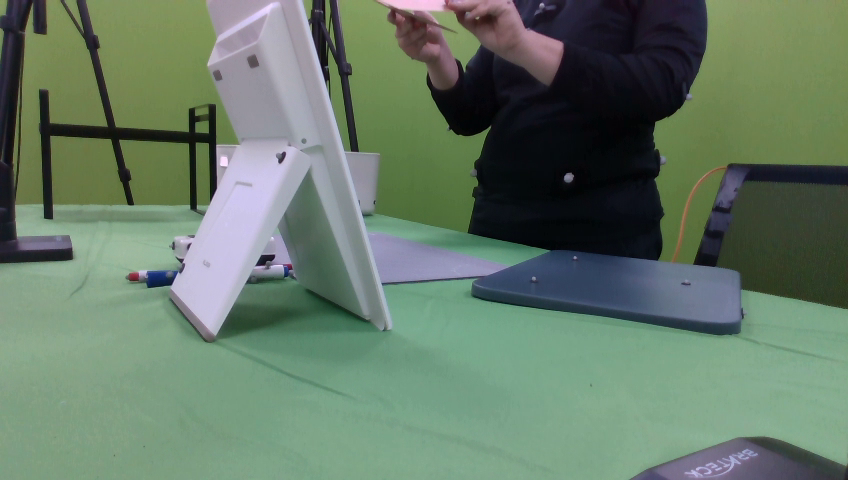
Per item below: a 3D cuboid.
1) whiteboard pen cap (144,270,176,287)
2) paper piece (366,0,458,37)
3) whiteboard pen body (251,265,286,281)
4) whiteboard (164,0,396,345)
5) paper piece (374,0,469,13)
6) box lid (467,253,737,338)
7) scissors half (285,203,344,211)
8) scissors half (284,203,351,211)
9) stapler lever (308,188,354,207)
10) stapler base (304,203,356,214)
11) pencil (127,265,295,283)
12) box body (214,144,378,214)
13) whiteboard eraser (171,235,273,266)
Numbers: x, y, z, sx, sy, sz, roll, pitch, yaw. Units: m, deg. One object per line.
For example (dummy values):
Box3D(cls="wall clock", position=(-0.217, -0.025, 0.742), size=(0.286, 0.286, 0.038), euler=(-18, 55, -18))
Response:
Box3D(cls="whiteboard pen cap", position=(-0.271, 0.039, 0.627), size=(0.033, 0.018, 0.018), euler=(-3, 10, -33))
Box3D(cls="paper piece", position=(-0.034, -0.345, 0.924), size=(0.139, 0.008, 0.135), euler=(4, 29, -42))
Box3D(cls="whiteboard pen body", position=(-0.220, 0.039, 0.656), size=(0.141, 0.017, 0.017), euler=(-2, 9, -30))
Box3D(cls="whiteboard", position=(-0.173, -0.053, 0.511), size=(0.144, 0.305, 0.216), euler=(-23, 19, -26))
Box3D(cls="paper piece", position=(-0.022, -0.363, 0.915), size=(0.136, 0.004, 0.134), euler=(-15, 41, -35))
Box3D(cls="box lid", position=(0.234, 0.054, 0.736), size=(0.262, 0.015, 0.373), euler=(7, 8, 26))
Box3D(cls="scissors half", position=(-0.280, -0.083, 1.552), size=(0.040, 0.013, 0.176), euler=(-1, 6, 45))
Box3D(cls="scissors half", position=(-0.269, -0.081, 1.534), size=(0.176, 0.013, 0.040), euler=(-6, 9, -24))
Box3D(cls="stapler lever", position=(-0.231, -0.106, 1.509), size=(0.119, 0.040, 0.026), euler=(3, 9, -35))
Box3D(cls="stapler base", position=(-0.235, -0.081, 1.510), size=(0.131, 0.024, 0.041), euler=(2, 9, -35))
Box3D(cls="pencil", position=(-0.231, 0.037, 0.690), size=(0.195, 0.012, 0.012), euler=(-2, 9, -34))
Box3D(cls="box body", position=(-0.328, -0.154, 1.543), size=(0.366, 0.160, 0.253), euler=(-2, 9, -32))
Box3D(cls="whiteboard eraser", position=(-0.248, 0.014, 0.747), size=(0.113, 0.042, 0.055), euler=(-1, 10, -32))
